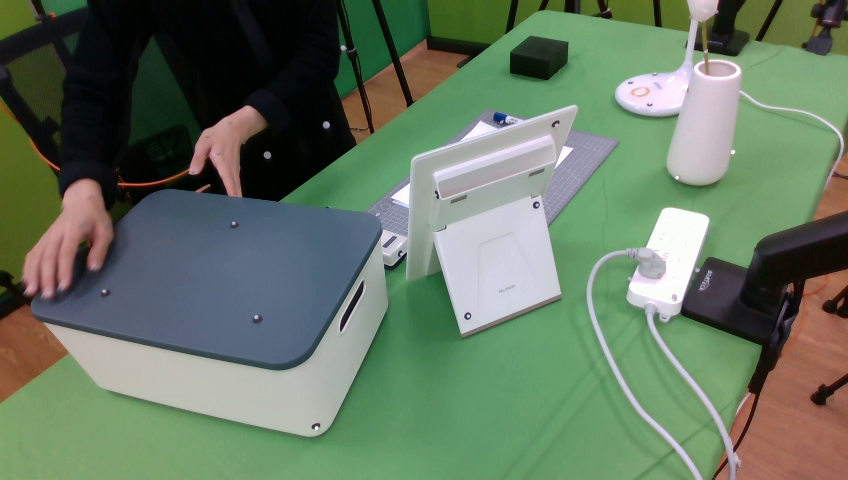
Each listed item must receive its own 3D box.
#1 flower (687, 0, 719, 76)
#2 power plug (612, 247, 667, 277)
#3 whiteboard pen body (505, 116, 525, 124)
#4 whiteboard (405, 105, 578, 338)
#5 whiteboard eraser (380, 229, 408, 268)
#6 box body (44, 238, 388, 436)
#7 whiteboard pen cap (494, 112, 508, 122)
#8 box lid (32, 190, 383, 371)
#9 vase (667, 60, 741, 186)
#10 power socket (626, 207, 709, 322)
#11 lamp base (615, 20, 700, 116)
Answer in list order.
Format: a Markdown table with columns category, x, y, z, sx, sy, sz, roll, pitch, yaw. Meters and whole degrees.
| category | x | y | z | sx | sy | sz | roll | pitch | yaw |
| --- | --- | --- | --- | --- | --- | --- | --- | --- | --- |
| flower | 0.436 | -0.242 | 0.934 | 0.038 | 0.364 | 0.043 | -24 | 49 | 8 |
| power plug | 0.306 | 0.031 | 0.852 | 0.072 | 0.053 | 0.035 | 21 | 48 | 37 |
| whiteboard pen body | 0.203 | -0.232 | 1.213 | 0.139 | 0.017 | 0.017 | 27 | 51 | 36 |
| whiteboard | 0.103 | 0.003 | 0.786 | 0.218 | 0.306 | 0.143 | -19 | 62 | -14 |
| whiteboard eraser | -0.081 | 0.007 | 0.963 | 0.112 | 0.042 | 0.056 | 19 | 48 | 27 |
| box body | -0.251 | 0.088 | 0.799 | 0.362 | 0.161 | 0.254 | 7 | 42 | 16 |
| whiteboard pen cap | 0.161 | -0.253 | 1.248 | 0.033 | 0.018 | 0.018 | 27 | 51 | 36 |
| box lid | -0.257 | 0.032 | 0.750 | 0.370 | 0.015 | 0.263 | 7 | 41 | 16 |
| vase | 0.463 | -0.189 | 0.994 | 0.098 | 0.201 | 0.097 | -4 | 40 | 4 |
| power socket | 0.360 | 0.026 | 0.886 | 0.072 | 0.033 | 0.227 | 17 | 46 | 27 |
| lamp base | 0.484 | -0.364 | 1.211 | 0.180 | 0.181 | 0.159 | -15 | 41 | -14 |
